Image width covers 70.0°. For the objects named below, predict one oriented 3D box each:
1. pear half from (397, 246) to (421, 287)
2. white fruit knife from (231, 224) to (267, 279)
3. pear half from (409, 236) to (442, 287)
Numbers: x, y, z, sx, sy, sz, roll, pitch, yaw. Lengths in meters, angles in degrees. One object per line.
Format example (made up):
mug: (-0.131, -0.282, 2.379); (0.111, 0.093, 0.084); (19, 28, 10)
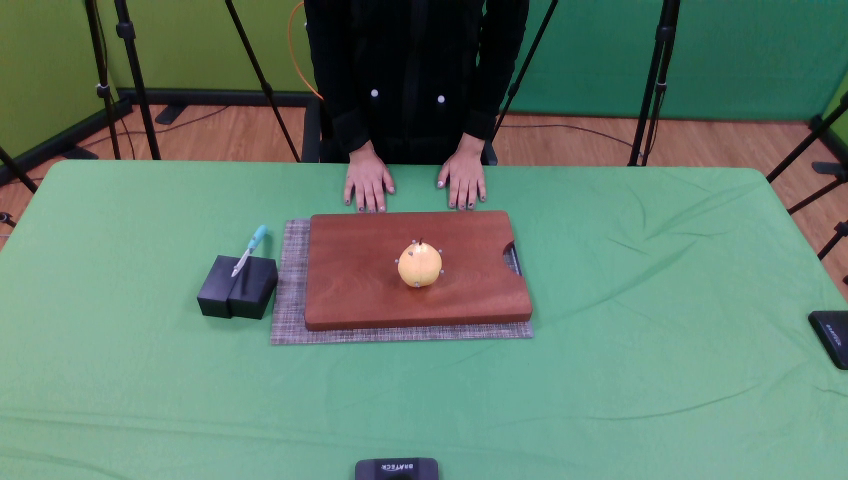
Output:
pear half: (-0.029, 0.046, 1.066); (0.031, 0.088, 0.070); (-18, 55, -20)
white fruit knife: (-0.318, 0.018, 1.104); (0.016, 0.027, 0.206); (10, 25, -4)
pear half: (0.004, 0.029, 1.070); (0.056, 0.110, 0.076); (-18, 53, -20)
